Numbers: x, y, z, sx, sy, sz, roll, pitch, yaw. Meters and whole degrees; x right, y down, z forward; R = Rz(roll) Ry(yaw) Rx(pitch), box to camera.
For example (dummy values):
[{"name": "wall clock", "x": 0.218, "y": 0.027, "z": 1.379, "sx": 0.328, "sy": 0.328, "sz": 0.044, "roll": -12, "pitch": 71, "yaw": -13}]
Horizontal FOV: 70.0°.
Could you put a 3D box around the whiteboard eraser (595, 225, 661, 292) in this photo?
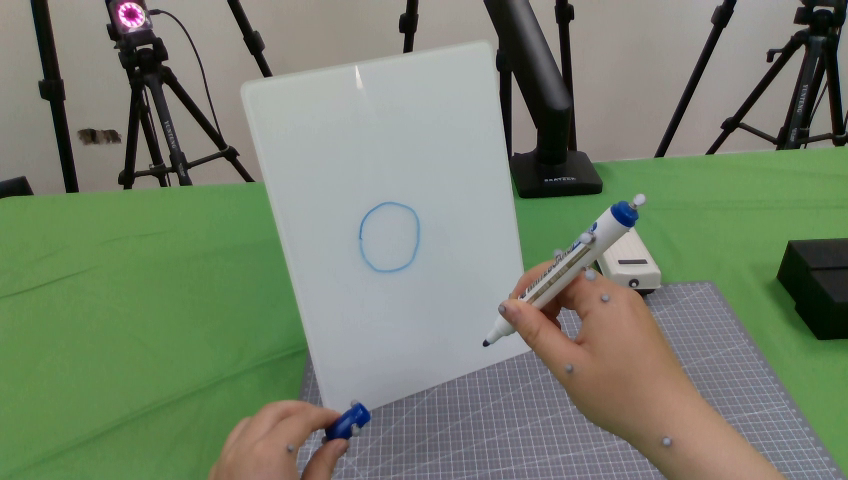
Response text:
[{"name": "whiteboard eraser", "x": 0.227, "y": 0.018, "z": 0.697, "sx": 0.055, "sy": 0.042, "sz": 0.111, "roll": -4, "pitch": 30, "yaw": 3}]

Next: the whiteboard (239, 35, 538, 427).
[{"name": "whiteboard", "x": -0.036, "y": -0.019, "z": 0.591, "sx": 0.218, "sy": 0.307, "sz": 0.143, "roll": -16, "pitch": 17, "yaw": -17}]

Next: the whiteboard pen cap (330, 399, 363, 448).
[{"name": "whiteboard pen cap", "x": -0.056, "y": 0.133, "z": 0.438, "sx": 0.018, "sy": 0.018, "sz": 0.033, "roll": 7, "pitch": 55, "yaw": 15}]

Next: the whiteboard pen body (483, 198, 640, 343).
[{"name": "whiteboard pen body", "x": 0.073, "y": 0.025, "z": 0.356, "sx": 0.017, "sy": 0.141, "sz": 0.017, "roll": 21, "pitch": 42, "yaw": -20}]
